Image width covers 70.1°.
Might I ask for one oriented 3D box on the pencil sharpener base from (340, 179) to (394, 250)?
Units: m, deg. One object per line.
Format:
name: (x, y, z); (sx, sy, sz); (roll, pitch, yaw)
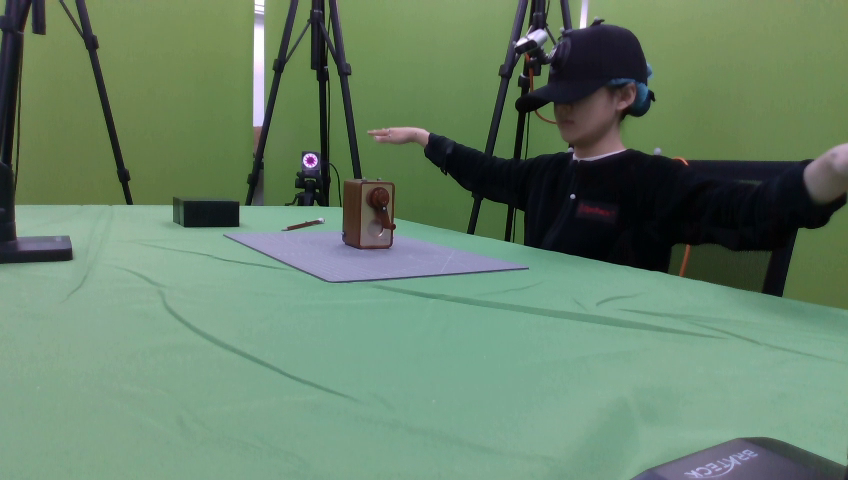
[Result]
pencil sharpener base: (-0.091, -0.041, 0.959); (0.061, 0.107, 0.076); (-1, 9, -30)

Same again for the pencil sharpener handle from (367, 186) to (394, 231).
pencil sharpener handle: (-0.061, -0.047, 0.916); (0.036, 0.068, 0.030); (-19, 17, -26)

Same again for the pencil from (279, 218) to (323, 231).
pencil: (-0.247, -0.031, 1.222); (0.012, 0.012, 0.194); (5, 9, 14)
